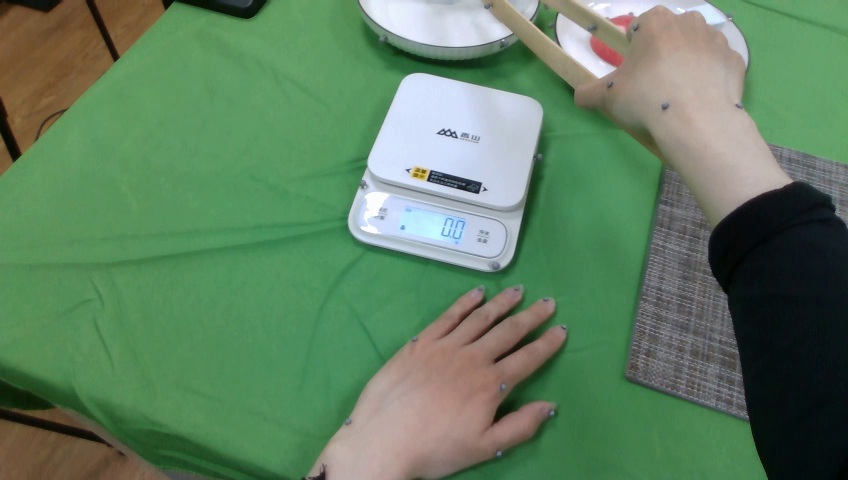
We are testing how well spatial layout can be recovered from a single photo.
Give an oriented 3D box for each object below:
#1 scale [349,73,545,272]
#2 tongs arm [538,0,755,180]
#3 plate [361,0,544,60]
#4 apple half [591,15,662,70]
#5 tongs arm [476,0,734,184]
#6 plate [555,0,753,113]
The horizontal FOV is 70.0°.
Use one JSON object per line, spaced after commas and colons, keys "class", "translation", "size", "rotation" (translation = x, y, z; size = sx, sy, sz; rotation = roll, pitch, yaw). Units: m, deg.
{"class": "scale", "translation": [0.027, -0.070, 0.562], "size": [0.148, 0.032, 0.199], "rotation": [14, 57, 7]}
{"class": "tongs arm", "translation": [0.154, -0.175, 0.545], "size": [0.051, 0.027, 0.380], "rotation": [-25, 47, -10]}
{"class": "plate", "translation": [0.032, -0.273, 0.695], "size": [0.208, 0.039, 0.205], "rotation": [1, 56, -1]}
{"class": "apple half", "translation": [0.228, -0.223, 0.664], "size": [0.081, 0.033, 0.080], "rotation": [0, 53, 0]}
{"class": "tongs arm", "translation": [0.126, -0.163, 0.541], "size": [0.028, 0.028, 0.383], "rotation": [-21, 46, -11]}
{"class": "plate", "translation": [0.245, -0.208, 0.661], "size": [0.209, 0.038, 0.207], "rotation": [1, 56, -2]}
